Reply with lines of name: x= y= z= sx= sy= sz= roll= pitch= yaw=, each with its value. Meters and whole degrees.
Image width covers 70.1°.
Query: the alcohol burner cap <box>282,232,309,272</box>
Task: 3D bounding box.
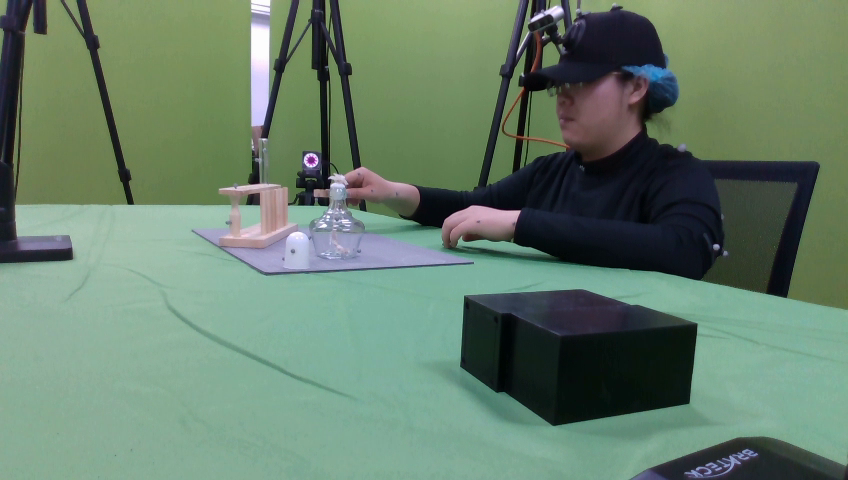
alcohol burner cap: x=-0.157 y=0.014 z=0.740 sx=0.034 sy=0.048 sz=0.034 roll=2 pitch=6 yaw=0

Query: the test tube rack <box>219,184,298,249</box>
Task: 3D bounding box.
test tube rack: x=-0.266 y=-0.046 z=1.001 sx=0.067 sy=0.085 sz=0.242 roll=3 pitch=7 yaw=0

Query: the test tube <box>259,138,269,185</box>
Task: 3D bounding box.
test tube: x=-0.281 y=-0.104 z=1.064 sx=0.017 sy=0.150 sz=0.017 roll=2 pitch=12 yaw=0

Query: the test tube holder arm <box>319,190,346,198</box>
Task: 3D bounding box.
test tube holder arm: x=-0.169 y=-0.085 z=1.124 sx=0.010 sy=0.015 sz=0.088 roll=10 pitch=7 yaw=19

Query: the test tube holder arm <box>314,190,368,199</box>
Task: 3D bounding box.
test tube holder arm: x=-0.157 y=-0.088 z=1.168 sx=0.013 sy=0.015 sz=0.179 roll=11 pitch=7 yaw=22

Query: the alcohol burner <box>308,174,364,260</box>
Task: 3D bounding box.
alcohol burner: x=-0.121 y=-0.033 z=0.841 sx=0.078 sy=0.119 sz=0.078 roll=3 pitch=5 yaw=0
